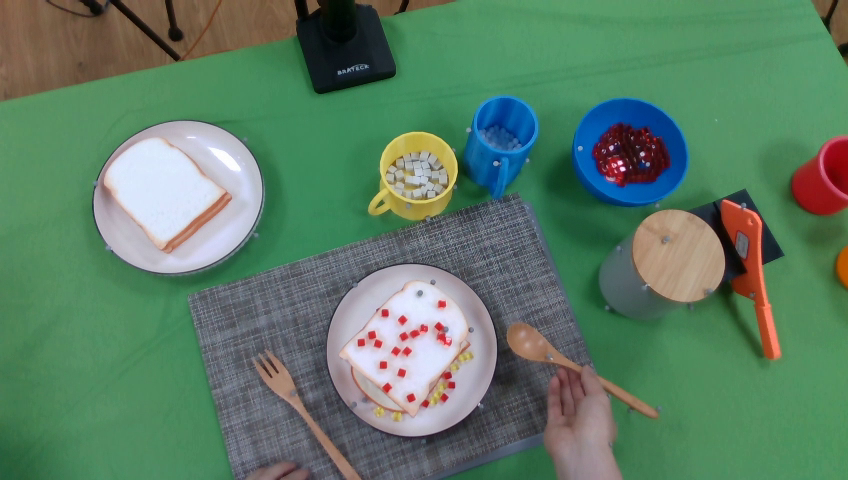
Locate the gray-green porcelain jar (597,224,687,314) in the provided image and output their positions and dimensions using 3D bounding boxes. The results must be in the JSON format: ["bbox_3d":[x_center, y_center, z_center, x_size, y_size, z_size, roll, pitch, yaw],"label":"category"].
[{"bbox_3d":[0.278,0.032,0.746,0.106,0.127,0.105,1,73,-4],"label":"gray-green porcelain jar"}]

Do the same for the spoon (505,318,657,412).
[{"bbox_3d":[0.181,0.148,0.706,0.193,0.022,0.041,28,54,14],"label":"spoon"}]

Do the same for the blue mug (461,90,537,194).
[{"bbox_3d":[0.095,-0.117,0.787,0.082,0.106,0.116,3,73,-3],"label":"blue mug"}]

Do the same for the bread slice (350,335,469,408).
[{"bbox_3d":[-0.022,0.137,0.735,0.104,0.019,0.131,38,72,9],"label":"bread slice"}]

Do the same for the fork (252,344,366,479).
[{"bbox_3d":[-0.133,0.208,0.712,0.028,0.019,0.206,-37,78,-20],"label":"fork"}]

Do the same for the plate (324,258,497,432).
[{"bbox_3d":[-0.016,0.125,0.736,0.209,0.038,0.208,1,73,-4],"label":"plate"}]

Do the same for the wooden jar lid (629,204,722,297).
[{"bbox_3d":[0.282,0.013,0.686,0.108,0.021,0.108,2,75,-7],"label":"wooden jar lid"}]

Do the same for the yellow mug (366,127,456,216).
[{"bbox_3d":[-0.022,-0.079,0.786,0.131,0.064,0.099,-38,78,-13],"label":"yellow mug"}]

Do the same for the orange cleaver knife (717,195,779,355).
[{"bbox_3d":[0.413,0.044,0.775,0.012,0.077,0.212,-19,102,-9],"label":"orange cleaver knife"}]

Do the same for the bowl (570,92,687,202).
[{"bbox_3d":[0.261,-0.112,0.812,0.151,0.077,0.150,1,73,-4],"label":"bowl"}]

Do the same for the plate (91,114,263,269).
[{"bbox_3d":[-0.309,-0.061,0.773,0.208,0.039,0.206,1,73,-4],"label":"plate"}]

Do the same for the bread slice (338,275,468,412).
[{"bbox_3d":[-0.017,0.106,0.681,0.107,0.018,0.134,37,69,1],"label":"bread slice"}]
